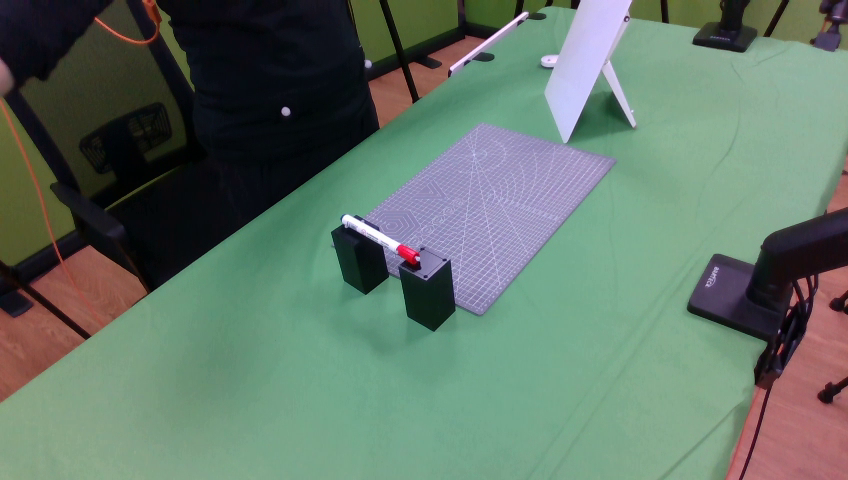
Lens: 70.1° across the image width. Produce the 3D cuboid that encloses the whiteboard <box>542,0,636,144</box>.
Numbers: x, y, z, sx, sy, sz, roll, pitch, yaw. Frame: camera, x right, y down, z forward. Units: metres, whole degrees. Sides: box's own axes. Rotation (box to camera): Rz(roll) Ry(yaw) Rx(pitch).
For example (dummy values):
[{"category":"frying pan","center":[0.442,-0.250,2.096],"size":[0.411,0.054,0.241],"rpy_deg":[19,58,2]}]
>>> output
[{"category":"whiteboard","center":[0.366,-0.351,1.160],"size":[0.144,0.305,0.216],"rpy_deg":[10,39,-10]}]

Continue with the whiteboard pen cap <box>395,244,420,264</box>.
[{"category":"whiteboard pen cap","center":[-0.022,0.018,0.800],"size":[0.032,0.017,0.017],"rpy_deg":[29,52,36]}]

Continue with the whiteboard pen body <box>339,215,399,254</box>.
[{"category":"whiteboard pen body","center":[-0.067,-0.004,0.835],"size":[0.139,0.017,0.017],"rpy_deg":[28,51,33]}]

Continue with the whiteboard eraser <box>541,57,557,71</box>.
[{"category":"whiteboard eraser","center":[0.323,-0.412,1.408],"size":[0.101,0.019,0.041],"rpy_deg":[1,42,11]}]
